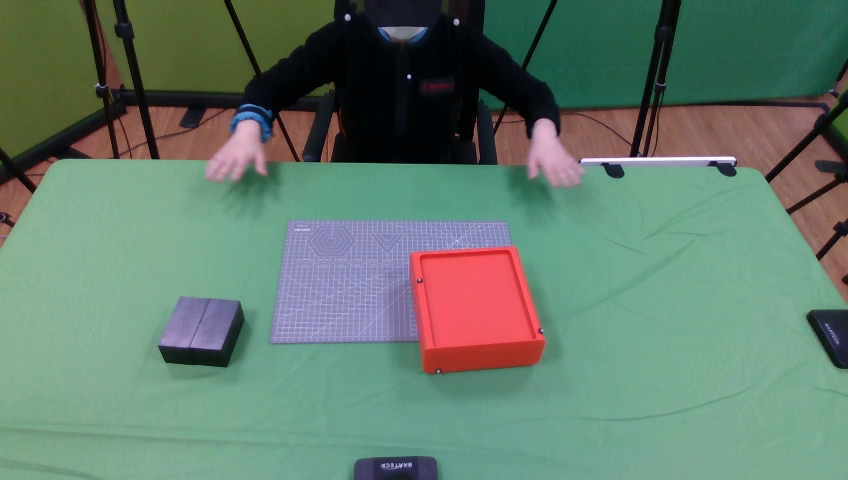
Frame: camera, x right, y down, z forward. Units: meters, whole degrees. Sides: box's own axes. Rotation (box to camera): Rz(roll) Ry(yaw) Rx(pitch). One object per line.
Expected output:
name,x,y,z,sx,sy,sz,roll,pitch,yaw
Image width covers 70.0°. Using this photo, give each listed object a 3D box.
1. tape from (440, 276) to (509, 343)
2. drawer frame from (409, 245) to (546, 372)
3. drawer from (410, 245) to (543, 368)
tape,0.086,0.120,1.053,0.117,0.053,0.116,2,46,-2
drawer frame,0.084,0.112,1.049,0.202,0.083,0.212,-4,48,-8
drawer,0.083,0.111,1.051,0.195,0.073,0.210,-3,47,-8
